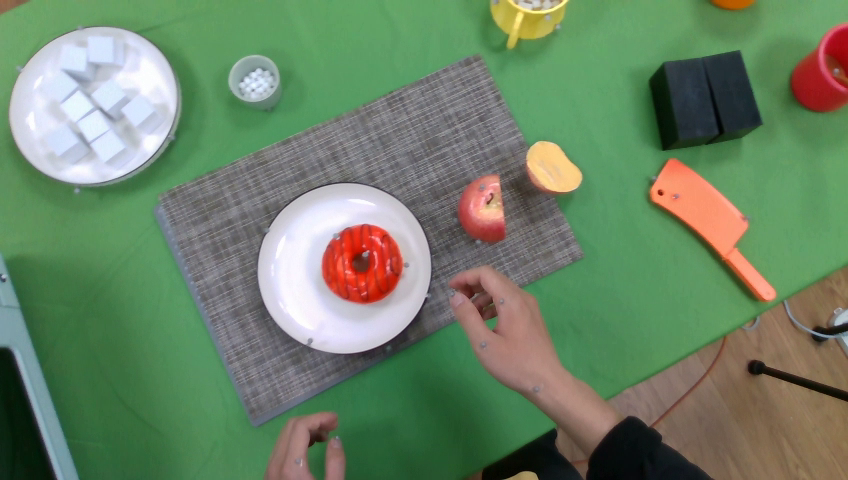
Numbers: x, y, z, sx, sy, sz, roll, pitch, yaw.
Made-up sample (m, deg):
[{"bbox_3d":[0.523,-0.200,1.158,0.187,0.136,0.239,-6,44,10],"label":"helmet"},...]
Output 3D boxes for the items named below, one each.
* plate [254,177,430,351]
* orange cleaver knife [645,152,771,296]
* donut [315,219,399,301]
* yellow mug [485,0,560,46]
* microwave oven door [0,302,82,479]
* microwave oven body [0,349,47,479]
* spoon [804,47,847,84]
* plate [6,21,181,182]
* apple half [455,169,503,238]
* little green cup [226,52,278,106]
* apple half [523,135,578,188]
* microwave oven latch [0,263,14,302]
[{"bbox_3d":[-0.097,0.029,0.731,0.209,0.038,0.208,0,81,-1],"label":"plate"},{"bbox_3d":[0.367,-0.023,0.763,0.077,0.012,0.211,-41,83,-12],"label":"orange cleaver knife"},{"bbox_3d":[-0.079,0.024,0.721,0.099,0.048,0.098,0,83,-2],"label":"donut"},{"bbox_3d":[0.127,-0.311,0.778,0.100,0.064,0.130,21,82,2],"label":"yellow mug"},{"bbox_3d":[-0.419,0.220,0.576,0.039,0.244,0.354,-24,82,-5],"label":"microwave oven door"},{"bbox_3d":[-0.570,0.241,0.574,0.326,0.261,0.440,-24,83,-5],"label":"microwave oven body"},{"bbox_3d":[0.509,-0.190,0.729,0.041,0.022,0.192,7,37,2],"label":"spoon"},{"bbox_3d":[-0.406,-0.170,0.758,0.208,0.039,0.207,0,81,-1],"label":"plate"},{"bbox_3d":[0.064,-0.041,0.728,0.053,0.075,0.080,-8,85,1],"label":"apple half"},{"bbox_3d":[-0.215,-0.201,0.767,0.061,0.039,0.061,0,81,-1],"label":"little green cup"},{"bbox_3d":[0.149,-0.090,0.755,0.082,0.033,0.080,15,53,-20],"label":"apple half"},{"bbox_3d":[-0.509,0.039,0.704,0.030,0.029,0.079,-23,83,-5],"label":"microwave oven latch"}]
